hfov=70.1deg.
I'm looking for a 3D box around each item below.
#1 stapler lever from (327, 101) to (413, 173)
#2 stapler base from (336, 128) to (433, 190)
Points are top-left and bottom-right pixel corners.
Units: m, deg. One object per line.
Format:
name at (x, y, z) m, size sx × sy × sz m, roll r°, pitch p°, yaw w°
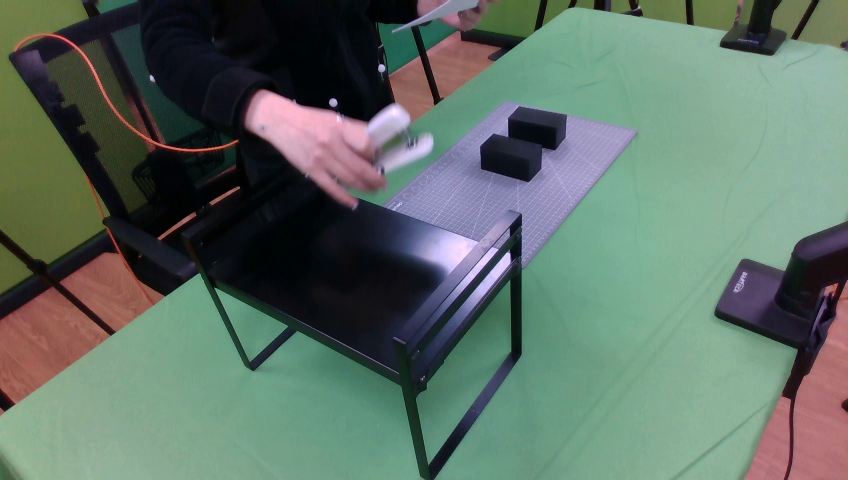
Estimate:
stapler lever at (-0.065, -0.117, 0.684) m, size 0.117 × 0.040 × 0.027 m, roll -24°, pitch 28°, yaw 24°
stapler base at (-0.051, -0.100, 0.696) m, size 0.130 × 0.024 × 0.041 m, roll -24°, pitch 27°, yaw 24°
